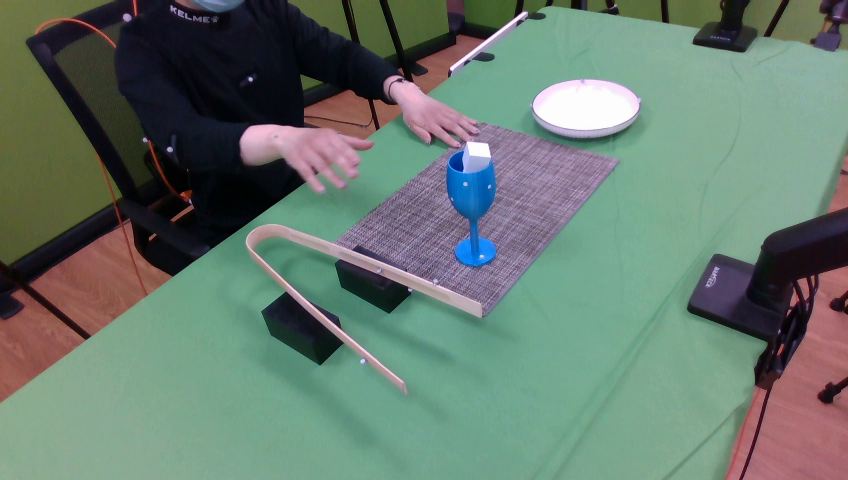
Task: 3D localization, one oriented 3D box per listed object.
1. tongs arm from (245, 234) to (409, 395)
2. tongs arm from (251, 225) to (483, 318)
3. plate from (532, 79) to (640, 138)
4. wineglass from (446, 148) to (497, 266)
[{"bbox_3d":[-0.145,0.088,0.810,0.028,0.028,0.384,-38,49,-24],"label":"tongs arm"},{"bbox_3d":[-0.094,0.044,0.853,0.382,0.026,0.051,21,50,29],"label":"tongs arm"},{"bbox_3d":[0.322,-0.259,1.212,0.209,0.038,0.208,-4,40,4],"label":"plate"},{"bbox_3d":[0.073,-0.046,0.889,0.074,0.173,0.073,-4,41,4],"label":"wineglass"}]
